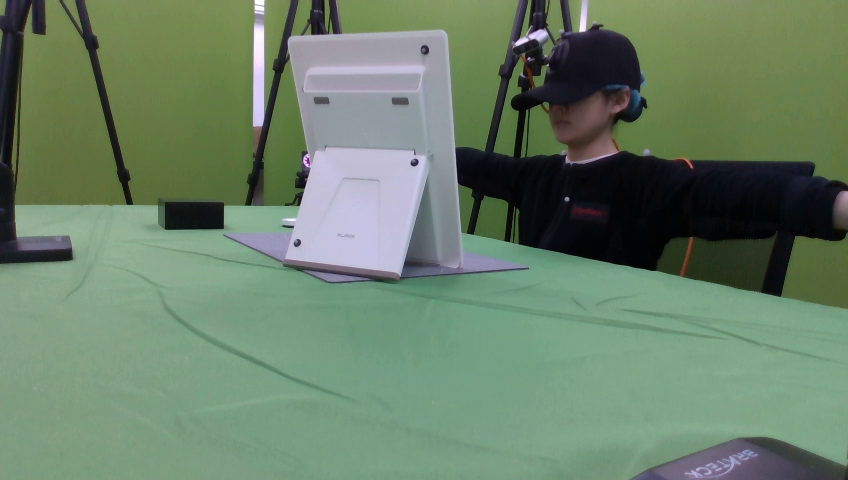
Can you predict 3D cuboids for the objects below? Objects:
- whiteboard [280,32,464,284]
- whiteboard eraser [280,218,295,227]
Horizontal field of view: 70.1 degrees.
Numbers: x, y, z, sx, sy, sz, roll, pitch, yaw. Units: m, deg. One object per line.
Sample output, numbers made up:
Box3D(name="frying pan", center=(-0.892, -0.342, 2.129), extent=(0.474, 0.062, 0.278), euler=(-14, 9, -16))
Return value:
Box3D(name="whiteboard", center=(-0.086, -0.080, 0.728), extent=(0.216, 0.305, 0.144), euler=(7, 28, 24))
Box3D(name="whiteboard eraser", center=(-0.242, -0.036, 1.228), extent=(0.102, 0.019, 0.041), euler=(0, 7, -33))
